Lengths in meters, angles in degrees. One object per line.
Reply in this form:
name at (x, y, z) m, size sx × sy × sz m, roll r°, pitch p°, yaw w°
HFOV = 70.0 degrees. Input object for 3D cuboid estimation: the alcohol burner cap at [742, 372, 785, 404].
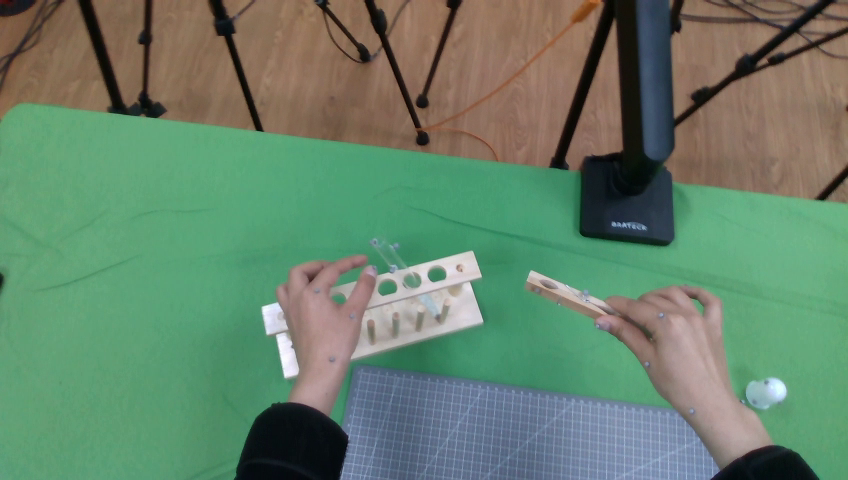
alcohol burner cap at (0.397, 0.171, 0.704) m, size 0.034 × 0.048 × 0.033 m, roll 1°, pitch 66°, yaw -1°

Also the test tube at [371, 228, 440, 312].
test tube at (-0.017, 0.038, 0.675) m, size 0.017 × 0.152 × 0.017 m, roll -17°, pitch 47°, yaw 19°

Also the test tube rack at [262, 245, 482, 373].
test tube rack at (-0.053, 0.081, 0.701) m, size 0.243 × 0.086 × 0.066 m, roll -15°, pitch 68°, yaw -8°

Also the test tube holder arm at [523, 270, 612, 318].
test tube holder arm at (0.139, 0.052, 0.584) m, size 0.087 × 0.015 × 0.010 m, roll 22°, pitch 58°, yaw 11°

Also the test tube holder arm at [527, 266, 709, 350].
test tube holder arm at (0.182, 0.065, 0.579) m, size 0.178 × 0.015 × 0.013 m, roll 21°, pitch 57°, yaw 10°
